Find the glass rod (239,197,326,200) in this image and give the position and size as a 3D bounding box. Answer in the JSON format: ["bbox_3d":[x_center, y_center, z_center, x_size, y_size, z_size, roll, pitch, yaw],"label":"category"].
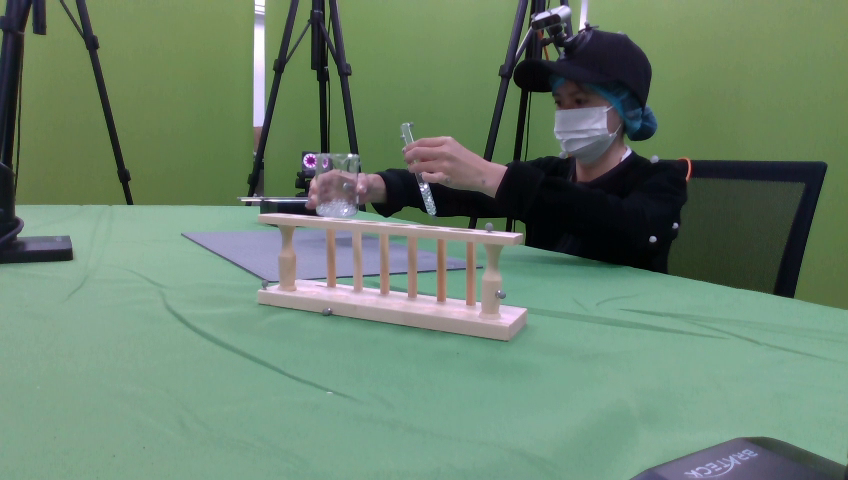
[{"bbox_3d":[-0.287,-0.087,1.250,0.201,0.008,0.008,-4,10,-42],"label":"glass rod"}]

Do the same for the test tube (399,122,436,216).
[{"bbox_3d":[-0.010,-0.110,0.935,0.017,0.150,0.017,-17,-2,0],"label":"test tube"}]

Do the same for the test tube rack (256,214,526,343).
[{"bbox_3d":[-0.032,0.027,0.547,0.241,0.085,0.067,5,7,22],"label":"test tube rack"}]

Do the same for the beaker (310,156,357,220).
[{"bbox_3d":[-0.146,-0.086,0.988,0.074,0.100,0.083,-3,12,-19],"label":"beaker"}]
